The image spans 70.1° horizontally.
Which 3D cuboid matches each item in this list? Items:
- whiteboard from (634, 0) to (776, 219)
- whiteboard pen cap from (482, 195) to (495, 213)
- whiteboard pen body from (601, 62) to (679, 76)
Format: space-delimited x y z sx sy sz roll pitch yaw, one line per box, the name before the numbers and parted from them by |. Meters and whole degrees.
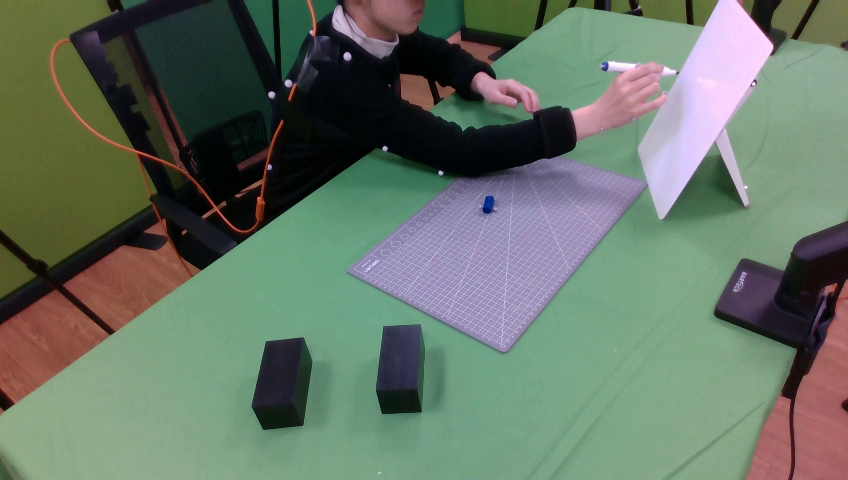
whiteboard | 0.485 -0.192 0.956 0.144 0.305 0.216 14 41 -5
whiteboard pen cap | 0.109 -0.060 1.028 0.018 0.018 0.033 6 45 15
whiteboard pen body | 0.352 -0.276 0.980 0.141 0.017 0.017 0 39 -14
